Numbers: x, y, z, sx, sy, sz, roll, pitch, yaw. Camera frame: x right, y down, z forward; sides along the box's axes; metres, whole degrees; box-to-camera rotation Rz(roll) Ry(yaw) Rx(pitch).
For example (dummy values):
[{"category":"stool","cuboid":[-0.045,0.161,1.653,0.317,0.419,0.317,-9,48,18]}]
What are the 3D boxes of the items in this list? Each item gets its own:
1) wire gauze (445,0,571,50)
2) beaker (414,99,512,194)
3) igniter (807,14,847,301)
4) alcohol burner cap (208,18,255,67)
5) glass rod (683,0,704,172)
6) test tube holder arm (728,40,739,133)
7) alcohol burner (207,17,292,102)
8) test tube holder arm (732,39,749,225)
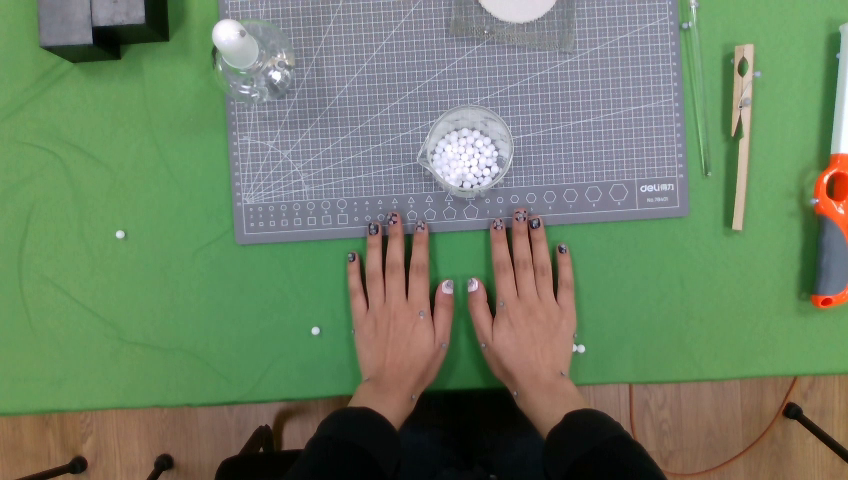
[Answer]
[{"category":"wire gauze","cuboid":[0.087,-0.256,0.594,0.125,0.011,0.121,7,92,0]},{"category":"beaker","cuboid":[0.034,-0.079,0.553,0.084,0.100,0.074,-12,90,2]},{"category":"igniter","cuboid":[0.404,-0.077,0.587,0.057,0.025,0.276,4,91,-9]},{"category":"alcohol burner cap","cuboid":[-0.164,-0.169,0.509,0.034,0.048,0.034,0,86,-3]},{"category":"glass rod","cuboid":[0.264,-0.167,0.596,0.008,0.008,0.200,-6,93,1]},{"category":"test tube holder arm","cuboid":[0.304,-0.149,0.592,0.010,0.015,0.088,1,92,36]},{"category":"alcohol burner","cuboid":[-0.163,-0.167,0.545,0.078,0.119,0.078,0,90,3]},{"category":"test tube holder arm","cuboid":[0.308,-0.104,0.590,0.013,0.015,0.178,1,92,36]}]
